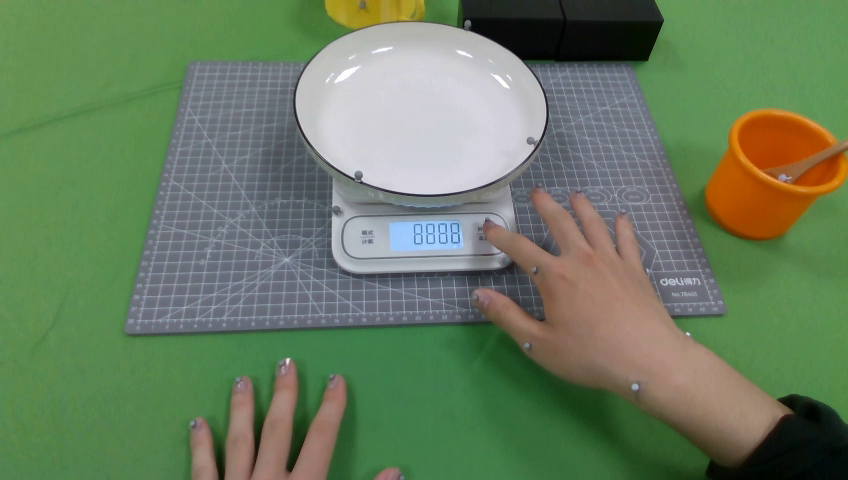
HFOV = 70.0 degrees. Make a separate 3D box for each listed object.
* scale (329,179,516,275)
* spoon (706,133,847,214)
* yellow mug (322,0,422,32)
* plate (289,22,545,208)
[{"bbox_3d":[-0.005,-0.062,0.517,0.149,0.032,0.199,-2,55,-4],"label":"scale"},{"bbox_3d":[0.321,-0.071,0.477,0.022,0.193,0.041,26,46,-42],"label":"spoon"},{"bbox_3d":[-0.050,-0.271,0.645,0.130,0.064,0.100,39,61,21],"label":"yellow mug"},{"bbox_3d":[-0.006,-0.105,0.507,0.209,0.038,0.207,3,55,-3],"label":"plate"}]
